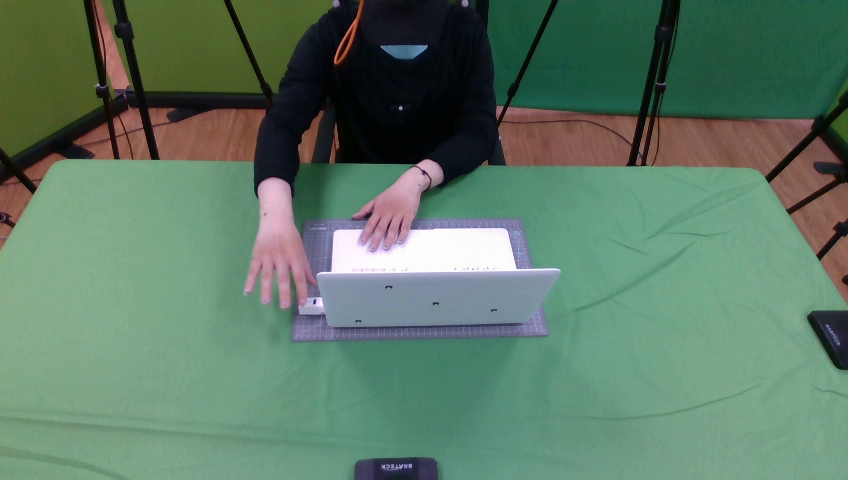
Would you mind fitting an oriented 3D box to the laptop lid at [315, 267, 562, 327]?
[{"bbox_3d":[0.018,0.094,0.949,0.357,0.242,0.013,0,64,-5],"label":"laptop lid"}]

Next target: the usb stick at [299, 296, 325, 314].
[{"bbox_3d":[-0.186,0.114,1.057,0.059,0.027,0.021,2,46,-5],"label":"usb stick"}]

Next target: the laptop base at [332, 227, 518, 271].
[{"bbox_3d":[0.004,0.062,1.136,0.355,0.023,0.234,-1,43,-5],"label":"laptop base"}]
